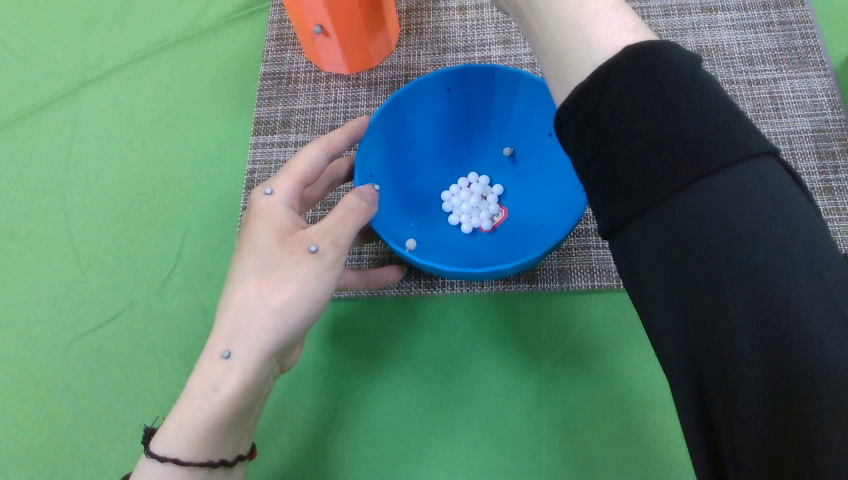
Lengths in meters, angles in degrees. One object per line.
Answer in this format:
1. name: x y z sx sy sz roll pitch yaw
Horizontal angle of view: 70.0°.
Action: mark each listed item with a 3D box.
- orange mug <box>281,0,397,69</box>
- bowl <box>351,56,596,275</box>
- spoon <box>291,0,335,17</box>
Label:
1. orange mug: -0.068 -0.217 0.483 0.083 0.101 0.125 8 73 11
2. bowl: 0.033 -0.037 0.404 0.151 0.077 0.150 -2 66 5
3. spoon: -0.039 -0.220 0.419 0.022 0.193 0.041 -16 82 -42
